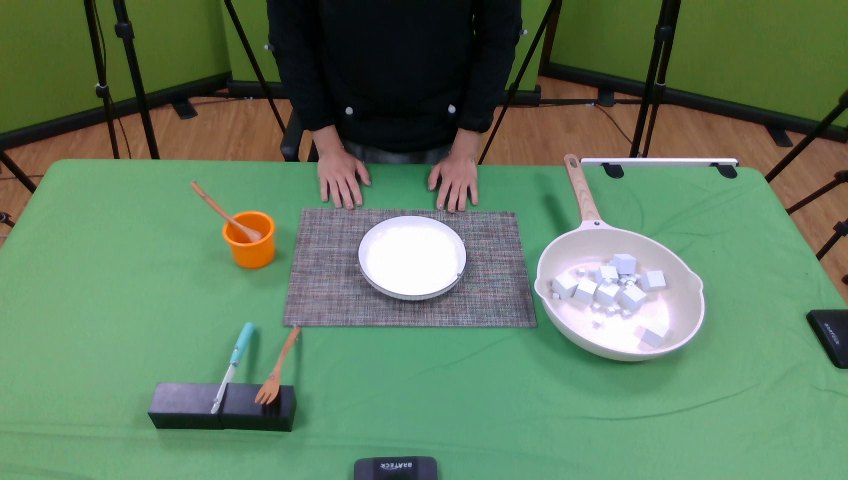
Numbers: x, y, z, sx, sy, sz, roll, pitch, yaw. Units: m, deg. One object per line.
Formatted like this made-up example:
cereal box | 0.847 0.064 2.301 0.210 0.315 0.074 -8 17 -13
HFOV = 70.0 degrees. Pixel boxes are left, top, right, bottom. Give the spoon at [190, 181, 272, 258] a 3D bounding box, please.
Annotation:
spoon | -0.353 -0.037 1.111 0.194 0.021 0.041 42 38 -20

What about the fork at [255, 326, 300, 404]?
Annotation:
fork | -0.226 0.192 0.955 0.028 0.019 0.206 -1 27 4

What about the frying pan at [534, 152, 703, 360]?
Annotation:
frying pan | 0.335 0.013 1.154 0.307 0.103 0.484 -1 55 -7

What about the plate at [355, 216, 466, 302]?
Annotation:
plate | -0.025 0.038 1.143 0.208 0.039 0.206 3 46 -2

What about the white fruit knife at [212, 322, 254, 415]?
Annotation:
white fruit knife | -0.297 0.193 0.947 0.016 0.027 0.206 1 31 0
